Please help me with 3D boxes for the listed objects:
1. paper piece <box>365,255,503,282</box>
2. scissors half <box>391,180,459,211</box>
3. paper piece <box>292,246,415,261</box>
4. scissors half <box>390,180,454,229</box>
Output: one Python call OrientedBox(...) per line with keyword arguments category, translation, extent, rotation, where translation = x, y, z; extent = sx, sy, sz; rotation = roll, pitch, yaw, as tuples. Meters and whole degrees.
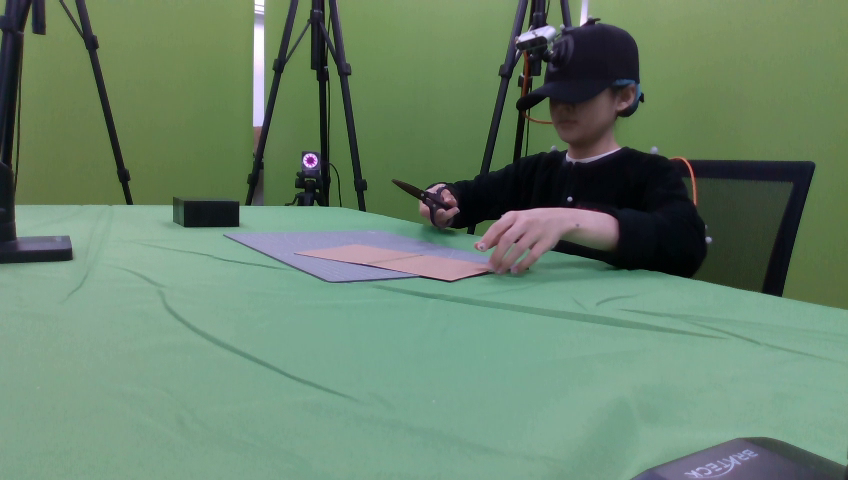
OrientedBox(category="paper piece", translation=(0.014, 0.034, 0.799), extent=(0.135, 0.004, 0.136), rotation=(8, 10, 34))
OrientedBox(category="scissors half", translation=(0.004, -0.078, 0.995), extent=(0.012, 0.040, 0.176), rotation=(19, 6, 39))
OrientedBox(category="paper piece", translation=(-0.096, 0.020, 0.873), extent=(0.137, 0.008, 0.137), rotation=(7, 4, 35))
OrientedBox(category="scissors half", translation=(-0.002, -0.059, 0.994), extent=(0.013, 0.040, 0.176), rotation=(12, -14, 39))
